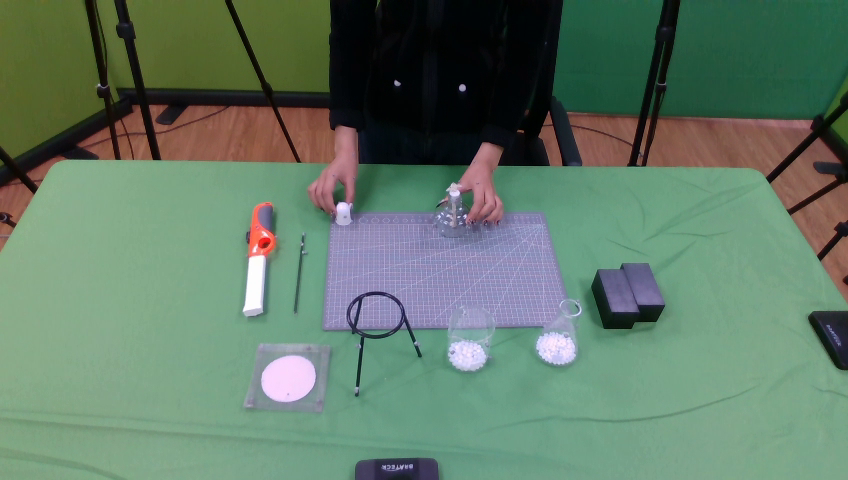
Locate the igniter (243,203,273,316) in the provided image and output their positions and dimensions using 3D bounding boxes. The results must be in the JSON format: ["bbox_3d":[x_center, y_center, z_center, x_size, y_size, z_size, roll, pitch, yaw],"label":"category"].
[{"bbox_3d":[-0.315,0.027,1.145,0.057,0.025,0.274,-10,47,0],"label":"igniter"}]

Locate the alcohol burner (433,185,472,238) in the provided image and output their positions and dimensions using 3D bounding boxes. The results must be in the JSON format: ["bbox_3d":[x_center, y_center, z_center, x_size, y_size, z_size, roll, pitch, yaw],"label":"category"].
[{"bbox_3d":[0.057,-0.062,1.197,0.078,0.120,0.077,1,47,-1],"label":"alcohol burner"}]

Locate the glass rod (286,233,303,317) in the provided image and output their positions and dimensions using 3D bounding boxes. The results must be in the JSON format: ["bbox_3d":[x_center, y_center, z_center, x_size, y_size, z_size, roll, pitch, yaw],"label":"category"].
[{"bbox_3d":[-0.242,0.061,1.135,0.008,0.008,0.198,2,48,-2],"label":"glass rod"}]

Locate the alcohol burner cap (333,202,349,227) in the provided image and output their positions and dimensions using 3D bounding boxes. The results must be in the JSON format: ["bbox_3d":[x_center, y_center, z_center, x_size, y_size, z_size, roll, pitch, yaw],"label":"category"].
[{"bbox_3d":[-0.168,-0.054,1.221,0.034,0.048,0.033,4,44,-4],"label":"alcohol burner cap"}]

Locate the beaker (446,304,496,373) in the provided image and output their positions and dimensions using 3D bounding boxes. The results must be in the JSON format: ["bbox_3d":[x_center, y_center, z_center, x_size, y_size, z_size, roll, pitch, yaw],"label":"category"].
[{"bbox_3d":[0.072,0.166,0.992,0.084,0.101,0.073,-21,51,-22],"label":"beaker"}]

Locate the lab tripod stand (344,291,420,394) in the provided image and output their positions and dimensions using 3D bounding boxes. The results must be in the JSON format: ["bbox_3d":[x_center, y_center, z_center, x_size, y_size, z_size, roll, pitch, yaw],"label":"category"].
[{"bbox_3d":[-0.075,0.155,0.967,0.148,0.132,0.147,3,44,-3],"label":"lab tripod stand"}]

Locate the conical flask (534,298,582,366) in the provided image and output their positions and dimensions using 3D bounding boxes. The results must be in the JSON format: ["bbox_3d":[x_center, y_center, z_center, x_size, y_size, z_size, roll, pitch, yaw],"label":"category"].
[{"bbox_3d":[0.229,0.149,1.005,0.075,0.122,0.075,2,46,-2],"label":"conical flask"}]

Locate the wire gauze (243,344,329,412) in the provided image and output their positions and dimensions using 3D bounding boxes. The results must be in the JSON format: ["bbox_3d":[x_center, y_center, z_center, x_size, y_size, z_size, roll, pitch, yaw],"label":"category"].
[{"bbox_3d":[-0.221,0.219,0.981,0.125,0.011,0.120,2,45,0],"label":"wire gauze"}]
